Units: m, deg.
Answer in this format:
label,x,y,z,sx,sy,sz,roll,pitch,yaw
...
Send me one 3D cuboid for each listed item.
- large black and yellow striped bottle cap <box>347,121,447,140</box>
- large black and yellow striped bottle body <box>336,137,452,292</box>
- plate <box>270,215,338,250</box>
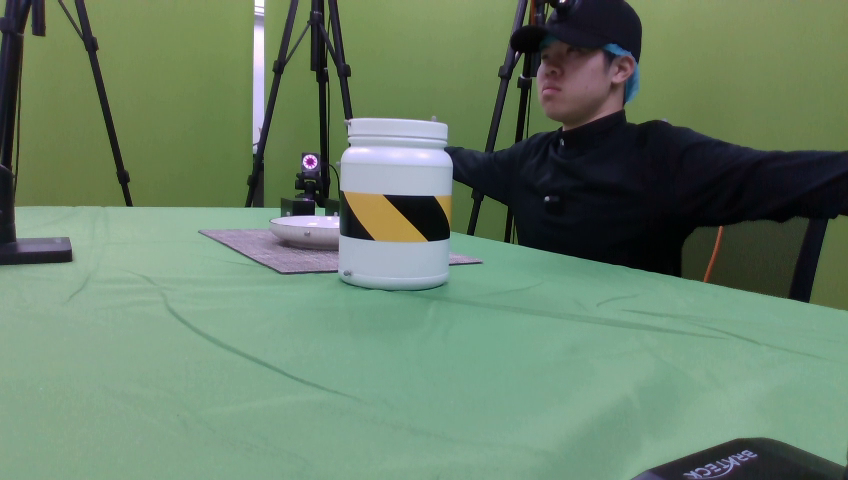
label,x,y,z,sx,sy,sz,roll,pitch,yaw
large black and yellow striped bottle cap,-0.031,-0.124,0.691,0.115,0.019,0.115,1,7,0
large black and yellow striped bottle body,-0.034,-0.041,0.703,0.131,0.184,0.130,3,7,0
plate,-0.145,-0.013,0.992,0.208,0.039,0.207,2,7,0
